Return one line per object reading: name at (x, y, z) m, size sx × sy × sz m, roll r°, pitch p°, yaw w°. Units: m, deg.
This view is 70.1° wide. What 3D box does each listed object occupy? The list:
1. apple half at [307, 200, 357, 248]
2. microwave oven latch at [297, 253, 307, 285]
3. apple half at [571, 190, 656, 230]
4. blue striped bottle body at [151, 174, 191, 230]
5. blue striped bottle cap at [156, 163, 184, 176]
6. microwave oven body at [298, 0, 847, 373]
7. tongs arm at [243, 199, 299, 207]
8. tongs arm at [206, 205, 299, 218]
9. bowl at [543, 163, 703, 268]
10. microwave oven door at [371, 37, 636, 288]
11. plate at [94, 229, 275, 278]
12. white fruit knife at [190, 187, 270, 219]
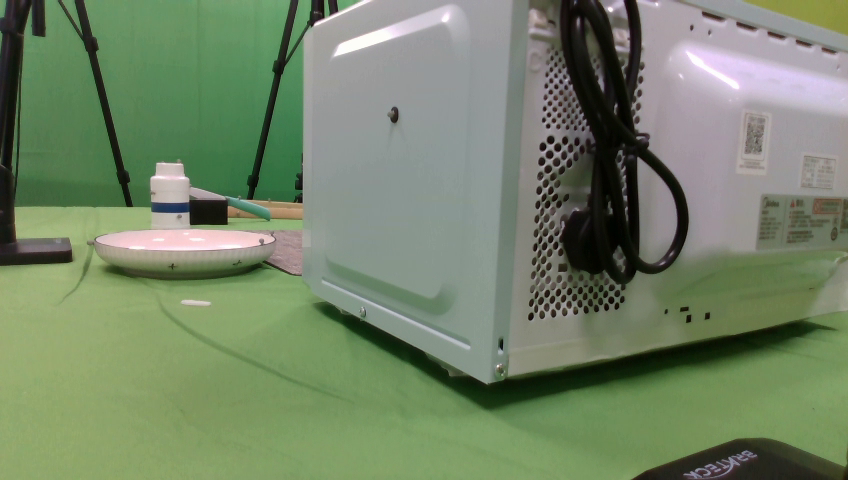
apple half at (-0.135, -0.024, 0.941) m, size 0.053 × 0.074 × 0.081 m, roll 13°, pitch 8°, yaw 38°
microwave oven latch at (-0.082, 0.027, 0.582) m, size 0.079 × 0.029 × 0.030 m, roll -1°, pitch 7°, yaw -33°
apple half at (0.181, -0.031, 0.583) m, size 0.081 × 0.033 × 0.081 m, roll 10°, pitch -5°, yaw 1°
blue striped bottle body at (-0.439, -0.071, 1.052) m, size 0.063 × 0.120 × 0.063 m, roll 2°, pitch 7°, yaw 0°
blue striped bottle cap at (-0.438, -0.121, 1.045) m, size 0.044 × 0.020 × 0.044 m, roll 4°, pitch 6°, yaw 0°
microwave oven body at (0.151, -0.055, 0.542) m, size 0.444 × 0.260 × 0.324 m, roll -1°, pitch 7°, yaw -33°
tongs arm at (-0.309, -0.079, 1.487) m, size 0.385 × 0.026 × 0.050 m, roll 3°, pitch 7°, yaw -2°
tongs arm at (-0.302, -0.065, 1.407) m, size 0.389 × 0.028 × 0.028 m, roll 1°, pitch 4°, yaw -15°
bowl at (0.181, -0.020, 0.585) m, size 0.151 × 0.077 × 0.151 m, roll 13°, pitch 7°, yaw -1°
microwave oven door at (0.110, -0.080, 0.686) m, size 0.358 × 0.243 × 0.039 m, roll -2°, pitch 9°, yaw -33°
plate at (-0.291, 0.016, 0.749) m, size 0.208 × 0.039 × 0.207 m, roll 2°, pitch 7°, yaw 0°
white fruit knife at (-0.413, -0.081, 1.270) m, size 0.208 × 0.027 × 0.016 m, roll 17°, pitch 14°, yaw -41°
